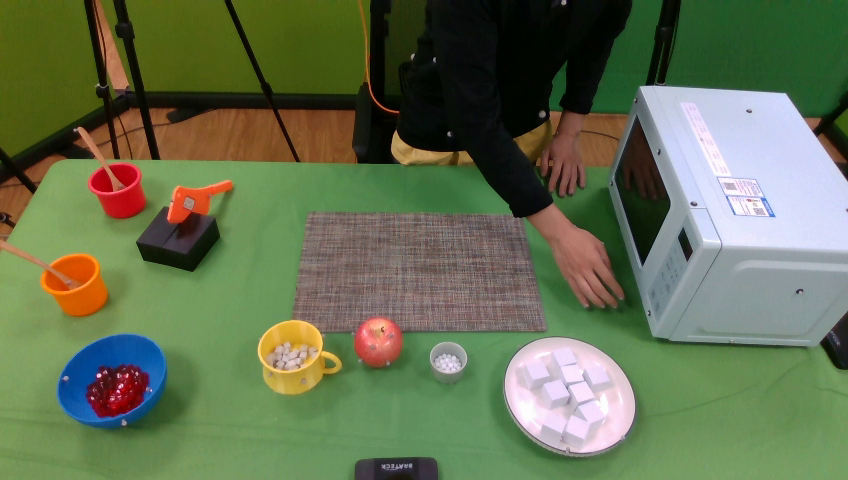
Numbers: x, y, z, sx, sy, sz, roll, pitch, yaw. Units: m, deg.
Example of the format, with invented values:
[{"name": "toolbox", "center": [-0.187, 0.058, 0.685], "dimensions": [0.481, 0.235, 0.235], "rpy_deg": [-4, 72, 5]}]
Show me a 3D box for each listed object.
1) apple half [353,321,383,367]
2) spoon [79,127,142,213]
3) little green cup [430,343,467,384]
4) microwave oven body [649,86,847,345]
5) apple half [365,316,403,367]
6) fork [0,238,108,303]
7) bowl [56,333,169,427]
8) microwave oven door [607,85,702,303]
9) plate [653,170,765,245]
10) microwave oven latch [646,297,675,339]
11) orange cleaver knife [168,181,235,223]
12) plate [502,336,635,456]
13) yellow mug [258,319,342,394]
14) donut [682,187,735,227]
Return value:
[{"name": "apple half", "center": [-0.097, 0.177, 0.984], "dimensions": [0.033, 0.081, 0.081], "rpy_deg": [-17, 49, -24]}, {"name": "spoon", "center": [-0.624, -0.139, 1.203], "dimensions": [0.041, 0.021, 0.194], "rpy_deg": [-33, 101, -26]}, {"name": "little green cup", "center": [0.039, 0.203, 0.994], "dimensions": [0.061, 0.039, 0.061], "rpy_deg": [2, 46, -2]}, {"name": "microwave oven body", "center": [0.567, -0.053, 1.118], "dimensions": [0.326, 0.261, 0.439], "rpy_deg": [2, 45, -1]}, {"name": "apple half", "center": [-0.063, 0.165, 1.000], "dimensions": [0.053, 0.075, 0.080], "rpy_deg": [-16, 45, -24]}, {"name": "fork", "center": [-0.633, 0.048, 1.017], "dimensions": [0.208, 0.018, 0.028], "rpy_deg": [40, 43, -27]}, {"name": "bowl", "center": [-0.456, 0.222, 0.911], "dimensions": [0.151, 0.077, 0.150], "rpy_deg": [2, 45, -2]}, {"name": "microwave oven door", "center": [0.423, -0.094, 1.141], "dimensions": [0.039, 0.245, 0.353], "rpy_deg": [2, 46, -1]}, {"name": "plate", "center": [0.556, -0.060, 1.195], "dimensions": [0.209, 0.038, 0.208], "rpy_deg": [1, 45, -1]}, {"name": "microwave oven latch", "center": [0.412, 0.134, 1.060], "dimensions": [0.030, 0.029, 0.078], "rpy_deg": [4, 45, 1]}, {"name": "orange cleaver knife", "center": [-0.436, -0.078, 1.196], "dimensions": [0.012, 0.077, 0.211], "rpy_deg": [16, 15, 10]}, {"name": "plate", "center": [0.225, 0.248, 0.963], "dimensions": [0.208, 0.039, 0.206], "rpy_deg": [2, 46, -2]}, {"name": "yellow mug", "center": [-0.195, 0.188, 0.972], "dimensions": [0.131, 0.064, 0.099], "rpy_deg": [9, 47, 4]}, {"name": "donut", "center": [0.554, -0.067, 1.184], "dimensions": [0.099, 0.048, 0.098], "rpy_deg": [3, 45, -2]}]
